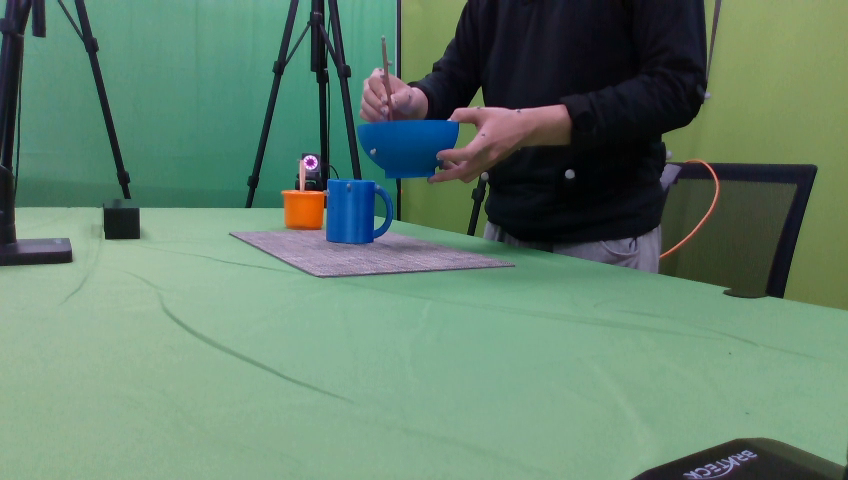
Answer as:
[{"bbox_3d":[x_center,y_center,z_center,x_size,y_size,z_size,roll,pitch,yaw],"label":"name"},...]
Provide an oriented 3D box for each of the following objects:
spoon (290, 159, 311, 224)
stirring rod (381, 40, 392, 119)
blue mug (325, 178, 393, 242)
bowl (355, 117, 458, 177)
[{"bbox_3d":[-0.256,-0.104,1.265,0.042,0.193,0.021,1,-37,-9],"label":"spoon"},{"bbox_3d":[-0.052,-0.203,0.885,0.006,0.176,0.014,-7,5,-15],"label":"stirring rod"},{"bbox_3d":[-0.111,-0.052,1.034,0.116,0.106,0.082,3,7,7],"label":"blue mug"},{"bbox_3d":[-0.023,-0.132,0.881,0.151,0.077,0.151,-2,6,1],"label":"bowl"}]
